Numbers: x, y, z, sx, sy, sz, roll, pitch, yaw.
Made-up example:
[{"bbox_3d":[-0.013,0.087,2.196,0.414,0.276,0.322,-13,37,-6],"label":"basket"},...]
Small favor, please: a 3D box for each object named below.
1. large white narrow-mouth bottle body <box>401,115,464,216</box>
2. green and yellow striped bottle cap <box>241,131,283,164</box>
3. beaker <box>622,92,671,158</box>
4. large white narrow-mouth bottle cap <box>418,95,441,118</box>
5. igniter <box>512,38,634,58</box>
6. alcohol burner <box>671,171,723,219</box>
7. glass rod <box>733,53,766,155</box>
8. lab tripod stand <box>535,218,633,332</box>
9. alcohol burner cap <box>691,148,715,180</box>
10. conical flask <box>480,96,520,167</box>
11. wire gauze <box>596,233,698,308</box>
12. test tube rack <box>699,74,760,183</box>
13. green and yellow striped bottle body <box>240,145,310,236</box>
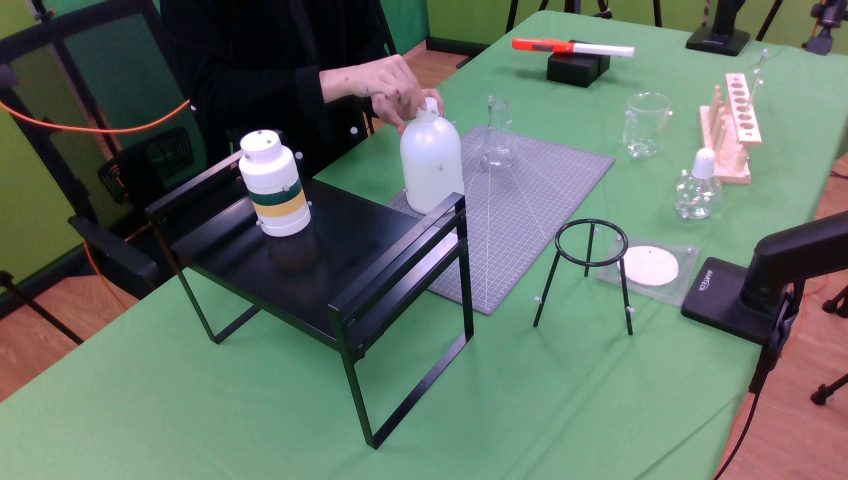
[{"bbox_3d":[0.014,-0.142,1.006,0.102,0.195,0.101,-3,39,3],"label":"large white narrow-mouth bottle body"},{"bbox_3d":[-0.187,-0.107,0.695,0.045,0.020,0.045,-4,39,3],"label":"green and yellow striped bottle cap"},{"bbox_3d":[0.402,-0.210,1.106,0.074,0.101,0.083,-9,40,-2],"label":"beaker"},{"bbox_3d":[0.009,-0.209,0.951,0.038,0.024,0.037,-3,39,3],"label":"large white narrow-mouth bottle cap"},{"bbox_3d":[0.328,-0.433,1.360,0.275,0.025,0.057,12,33,20],"label":"igniter"},{"bbox_3d":[0.434,-0.093,0.955,0.078,0.119,0.077,-3,43,4],"label":"alcohol burner"},{"bbox_3d":[0.540,-0.220,1.007,0.008,0.201,0.008,-5,46,6],"label":"glass rod"},{"bbox_3d":[0.215,0.050,0.803,0.148,0.132,0.147,-4,42,4],"label":"lab tripod stand"},{"bbox_3d":[0.432,-0.120,0.930,0.034,0.048,0.033,-7,48,8],"label":"alcohol burner cap"},{"bbox_3d":[0.138,-0.201,1.111,0.075,0.122,0.075,-4,41,4],"label":"conical flask"},{"bbox_3d":[0.331,0.038,0.897,0.124,0.011,0.121,18,47,26],"label":"wire gauze"},{"bbox_3d":[0.547,-0.208,1.095,0.066,0.085,0.242,6,42,16],"label":"test tube rack"},{"bbox_3d":[-0.181,-0.068,0.729,0.063,0.120,0.063,-4,40,4],"label":"green and yellow striped bottle body"}]
